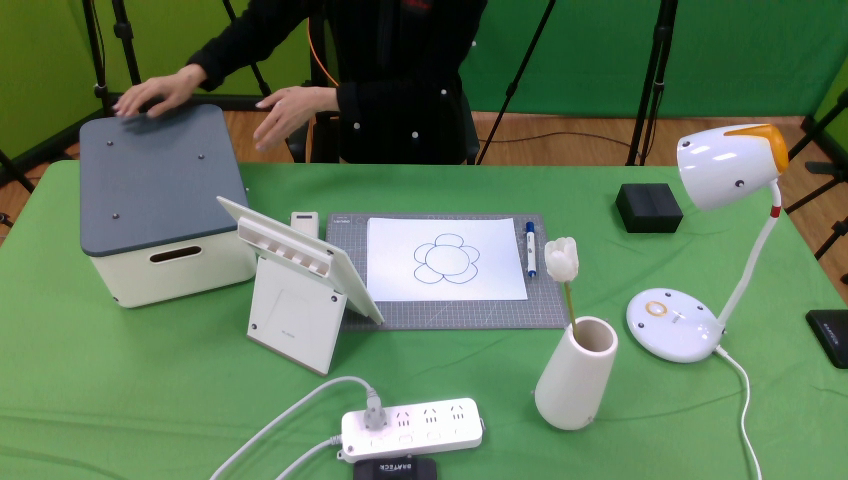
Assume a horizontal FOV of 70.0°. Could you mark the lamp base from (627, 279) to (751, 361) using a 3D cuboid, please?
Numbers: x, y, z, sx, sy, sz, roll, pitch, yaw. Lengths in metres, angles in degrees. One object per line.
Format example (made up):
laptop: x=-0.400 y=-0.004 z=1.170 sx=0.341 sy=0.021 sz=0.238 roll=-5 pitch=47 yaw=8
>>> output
lamp base: x=0.460 y=0.100 z=1.027 sx=0.178 sy=0.181 sz=0.160 roll=27 pitch=51 yaw=17

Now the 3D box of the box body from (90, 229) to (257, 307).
box body: x=-0.471 y=-0.070 z=1.131 sx=0.254 sy=0.161 sz=0.361 roll=-14 pitch=49 yaw=-17

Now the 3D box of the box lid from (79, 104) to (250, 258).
box lid: x=-0.467 y=-0.121 z=1.075 sx=0.264 sy=0.015 sz=0.369 roll=-13 pitch=49 yaw=-17

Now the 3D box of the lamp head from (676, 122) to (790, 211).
lamp head: x=0.423 y=-0.104 z=0.819 sx=0.122 sy=0.113 sz=0.112 roll=-13 pitch=33 yaw=40

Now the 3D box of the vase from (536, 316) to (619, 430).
vase: x=0.229 y=0.200 z=0.901 sx=0.098 sy=0.201 sz=0.097 roll=3 pitch=46 yaw=-3

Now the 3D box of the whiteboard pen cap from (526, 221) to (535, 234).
whiteboard pen cap: x=0.216 y=-0.022 z=1.234 sx=0.018 sy=0.018 sz=0.033 roll=6 pitch=44 yaw=1

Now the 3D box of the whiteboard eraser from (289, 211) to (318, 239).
whiteboard eraser: x=-0.234 y=-0.007 z=1.172 sx=0.055 sy=0.042 sz=0.112 roll=-3 pitch=47 yaw=-5

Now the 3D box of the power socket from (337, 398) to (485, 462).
power socket: x=-0.018 y=0.285 z=0.914 sx=0.227 sy=0.033 sz=0.071 roll=-4 pitch=46 yaw=-8

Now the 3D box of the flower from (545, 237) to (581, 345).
flower: x=0.213 y=0.137 z=0.846 sx=0.038 sy=0.364 sz=0.044 roll=21 pitch=55 yaw=39

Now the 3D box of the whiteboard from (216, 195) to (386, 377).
whiteboard: x=-0.212 y=0.094 z=0.938 sx=0.216 sy=0.307 sz=0.143 roll=24 pitch=70 yaw=17

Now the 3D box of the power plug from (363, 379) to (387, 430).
power plug: x=-0.071 y=0.252 z=0.911 sx=0.035 sy=0.053 sz=0.072 roll=3 pitch=40 yaw=0

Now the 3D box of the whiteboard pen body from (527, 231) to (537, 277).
whiteboard pen body: x=0.211 y=0.018 z=1.191 sx=0.017 sy=0.017 sz=0.140 roll=6 pitch=44 yaw=1
